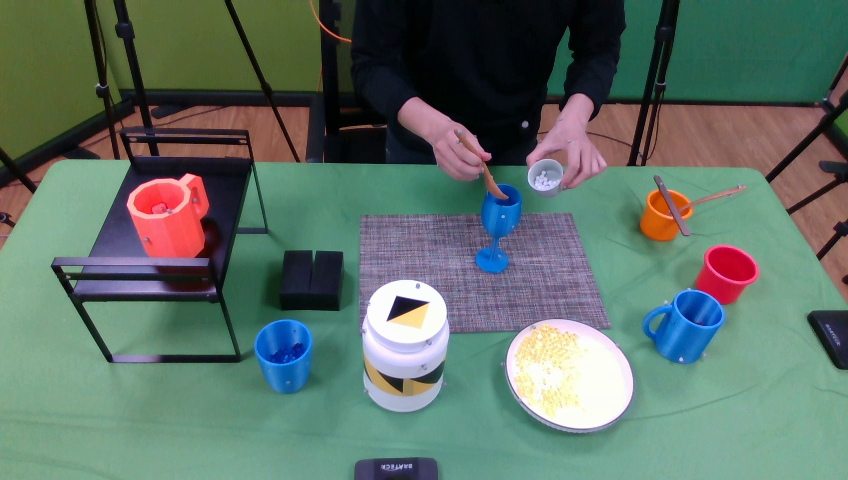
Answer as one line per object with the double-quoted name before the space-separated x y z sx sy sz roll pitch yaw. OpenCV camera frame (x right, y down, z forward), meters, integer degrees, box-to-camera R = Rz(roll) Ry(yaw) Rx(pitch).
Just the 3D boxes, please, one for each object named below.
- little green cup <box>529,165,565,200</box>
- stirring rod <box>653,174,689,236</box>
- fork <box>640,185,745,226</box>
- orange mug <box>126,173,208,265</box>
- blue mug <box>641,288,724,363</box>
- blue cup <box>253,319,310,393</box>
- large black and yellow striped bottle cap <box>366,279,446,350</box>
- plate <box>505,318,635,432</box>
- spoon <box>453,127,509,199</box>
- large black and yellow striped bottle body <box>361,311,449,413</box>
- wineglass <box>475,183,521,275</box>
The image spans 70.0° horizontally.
"little green cup" 0.215 -0.099 1.057 0.061 0.039 0.061 -7 37 5
"stirring rod" 0.491 -0.072 1.211 0.014 0.006 0.175 -1 47 -6
"fork" 0.534 -0.069 1.215 0.207 0.019 0.028 -26 27 33
"orange mug" -0.371 -0.039 0.902 0.083 0.101 0.126 18 51 14
"blue mug" 0.432 0.144 1.033 0.116 0.106 0.082 8 46 5
"blue cup" -0.217 0.187 0.943 0.093 0.101 0.092 4 45 -3
"large black and yellow striped bottle cap" -0.025 0.104 0.864 0.115 0.019 0.114 3 48 -3
"plate" 0.235 0.221 0.991 0.209 0.038 0.208 2 45 -2
"spoon" 0.091 -0.121 0.975 0.021 0.195 0.041 -46 47 -5
"large black and yellow striped bottle body" -0.031 0.163 0.924 0.131 0.185 0.130 2 46 -2
"wineglass" 0.135 -0.020 1.115 0.074 0.173 0.073 2 46 -2
